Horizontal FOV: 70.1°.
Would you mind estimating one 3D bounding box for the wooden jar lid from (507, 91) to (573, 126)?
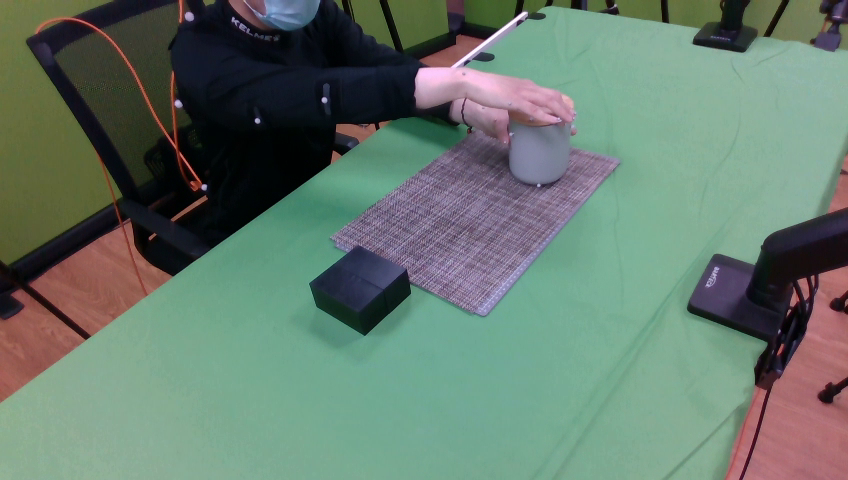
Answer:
[{"bbox_3d":[0.194,-0.216,1.010,0.108,0.021,0.108,-6,40,6],"label":"wooden jar lid"}]

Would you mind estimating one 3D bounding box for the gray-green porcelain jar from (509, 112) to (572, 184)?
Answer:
[{"bbox_3d":[0.200,-0.169,1.051,0.106,0.127,0.105,-4,41,4],"label":"gray-green porcelain jar"}]
